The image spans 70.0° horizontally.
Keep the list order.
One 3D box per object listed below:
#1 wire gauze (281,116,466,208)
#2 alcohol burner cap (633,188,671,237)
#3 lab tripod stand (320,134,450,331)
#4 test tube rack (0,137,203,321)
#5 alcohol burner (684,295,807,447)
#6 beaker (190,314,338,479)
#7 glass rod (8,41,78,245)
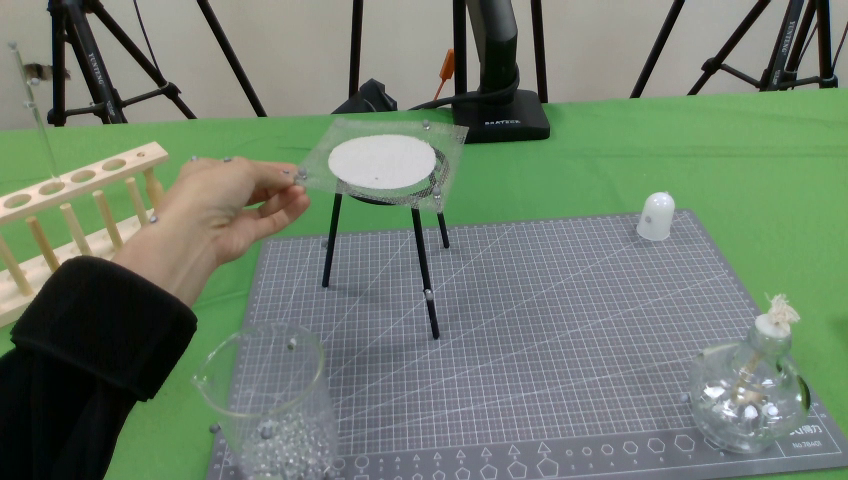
[{"bbox_3d":[-0.036,-0.070,0.485,0.125,0.011,0.120,8,38,11],"label":"wire gauze"},{"bbox_3d":[0.228,-0.030,0.601,0.034,0.048,0.033,-1,40,1],"label":"alcohol burner cap"},{"bbox_3d":[-0.027,-0.011,0.519,0.148,0.133,0.147,-2,41,2],"label":"lab tripod stand"},{"bbox_3d":[-0.346,-0.007,0.570,0.242,0.086,0.066,-30,47,-29],"label":"test tube rack"},{"bbox_3d":[0.220,0.084,0.407,0.078,0.120,0.077,-1,38,1],"label":"alcohol burner"},{"bbox_3d":[-0.100,0.111,0.402,0.084,0.101,0.073,-6,40,-3],"label":"beaker"},{"bbox_3d":[-0.345,-0.081,0.556,0.008,0.201,0.008,1,33,-1],"label":"glass rod"}]
